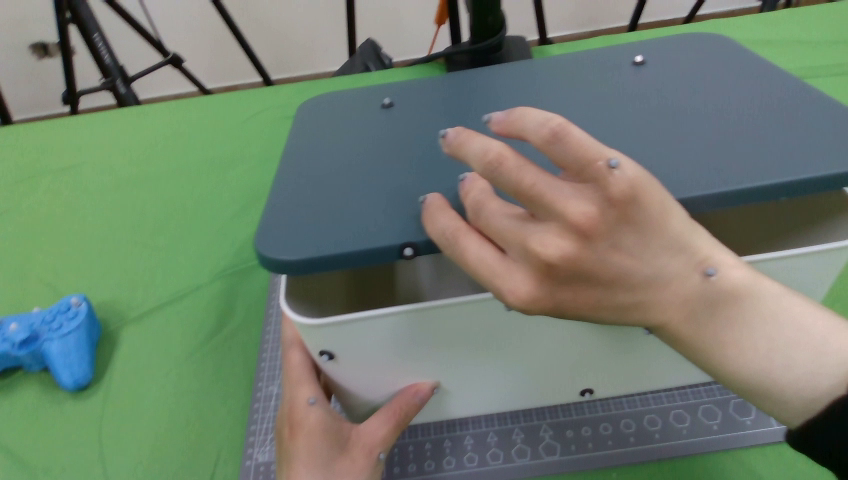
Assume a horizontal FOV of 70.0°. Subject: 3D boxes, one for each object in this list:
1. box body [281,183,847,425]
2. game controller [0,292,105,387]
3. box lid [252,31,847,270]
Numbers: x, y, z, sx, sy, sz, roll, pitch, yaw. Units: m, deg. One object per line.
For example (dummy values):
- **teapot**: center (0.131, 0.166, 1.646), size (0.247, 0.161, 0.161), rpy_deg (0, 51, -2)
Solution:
- **box body**: center (0.091, -0.010, 0.495), size (0.364, 0.162, 0.251), rpy_deg (-9, 45, 1)
- **game controller**: center (-0.376, 0.095, 0.559), size (0.155, 0.052, 0.096), rpy_deg (-9, 42, 1)
- **box lid**: center (0.075, -0.081, 0.427), size (0.371, 0.015, 0.260), rpy_deg (-9, 33, 2)
